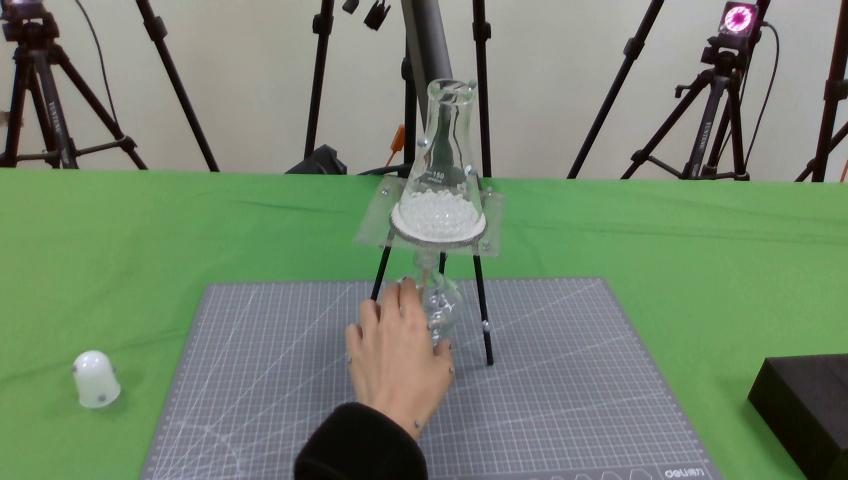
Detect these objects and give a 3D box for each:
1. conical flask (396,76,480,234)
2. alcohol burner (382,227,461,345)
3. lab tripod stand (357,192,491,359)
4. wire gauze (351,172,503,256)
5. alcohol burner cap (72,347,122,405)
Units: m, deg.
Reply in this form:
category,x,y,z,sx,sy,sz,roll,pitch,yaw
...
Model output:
category,x,y,z,sx,sy,sz,roll,pitch,yaw
conical flask,0.016,-0.072,0.507,0.075,0.123,0.074,4,33,-2
alcohol burner,-0.001,0.041,0.581,0.078,0.120,0.077,2,31,-1
lab tripod stand,0.011,0.032,0.577,0.148,0.132,0.147,5,32,-3
wire gauze,0.008,-0.024,0.542,0.121,0.011,0.124,8,35,6
alcohol burner cap,-0.278,0.112,0.510,0.034,0.048,0.033,2,32,-1
